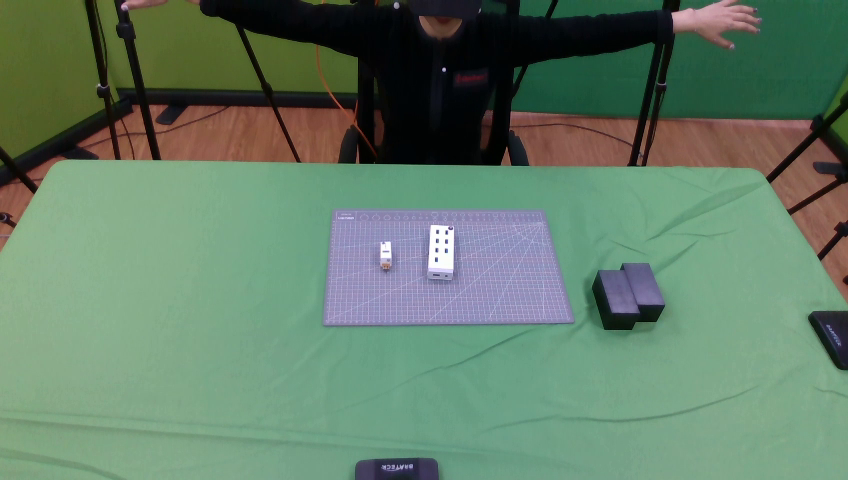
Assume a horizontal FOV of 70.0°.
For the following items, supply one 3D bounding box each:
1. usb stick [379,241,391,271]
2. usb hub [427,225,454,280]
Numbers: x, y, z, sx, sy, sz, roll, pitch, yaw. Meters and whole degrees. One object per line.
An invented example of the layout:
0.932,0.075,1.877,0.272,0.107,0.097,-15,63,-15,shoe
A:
-0.074,0.031,1.156,0.021,0.027,0.059,1,49,-4,usb stick
0.033,0.022,1.174,0.049,0.025,0.124,4,46,0,usb hub
